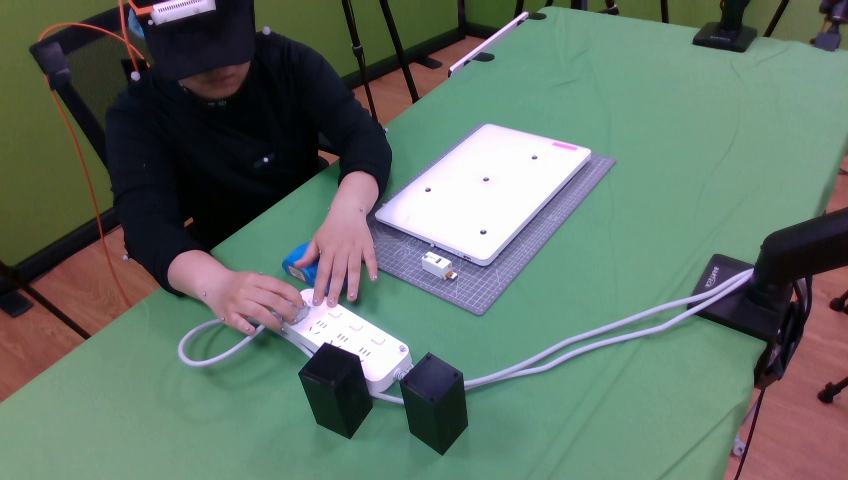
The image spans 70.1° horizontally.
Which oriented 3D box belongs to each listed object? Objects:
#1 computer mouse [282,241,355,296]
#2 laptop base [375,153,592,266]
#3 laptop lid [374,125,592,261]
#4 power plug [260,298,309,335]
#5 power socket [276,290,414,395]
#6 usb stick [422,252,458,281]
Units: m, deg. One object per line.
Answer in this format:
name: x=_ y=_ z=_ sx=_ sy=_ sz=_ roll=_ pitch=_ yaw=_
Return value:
computer mouse: x=-0.164 y=0.040 z=0.935 sx=0.116 sy=0.041 sz=0.063 roll=29 pitch=49 yaw=30
laptop base: x=0.112 y=-0.091 z=1.063 sx=0.233 sy=0.023 sz=0.355 roll=21 pitch=48 yaw=34
laptop lid: x=0.109 y=-0.101 z=1.057 sx=0.239 sy=0.013 sz=0.358 roll=23 pitch=48 yaw=34
power plug: x=-0.192 y=0.108 z=0.835 sx=0.072 sy=0.053 sz=0.035 roll=-37 pitch=50 yaw=-12
power socket: x=-0.114 y=0.134 z=0.820 sx=0.225 sy=0.033 sz=0.072 roll=25 pitch=49 yaw=33
usb stick: x=0.025 y=0.042 z=0.908 sx=0.058 sy=0.027 sz=0.021 roll=27 pitch=49 yaw=31
